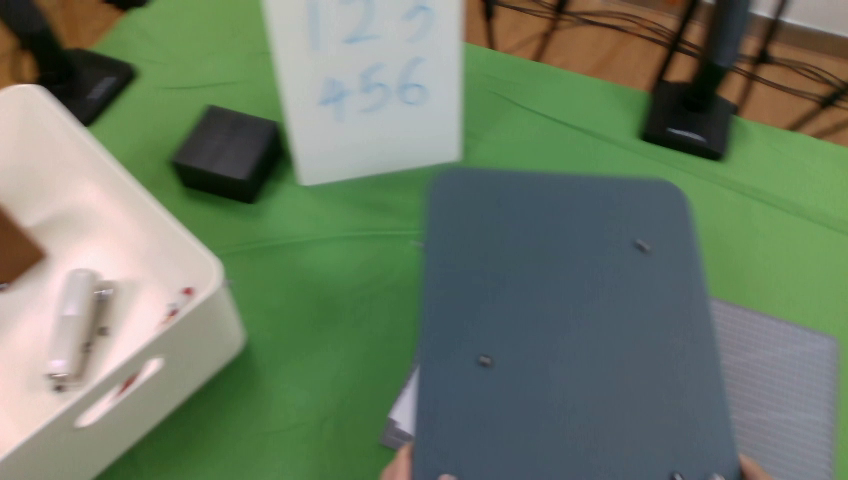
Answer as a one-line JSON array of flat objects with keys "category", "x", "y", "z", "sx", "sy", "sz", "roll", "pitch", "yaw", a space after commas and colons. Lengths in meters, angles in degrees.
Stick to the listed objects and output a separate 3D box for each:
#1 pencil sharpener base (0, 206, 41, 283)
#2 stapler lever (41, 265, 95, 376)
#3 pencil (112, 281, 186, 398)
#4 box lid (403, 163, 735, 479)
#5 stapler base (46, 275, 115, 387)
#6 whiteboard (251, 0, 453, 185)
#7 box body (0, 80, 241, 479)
[{"category": "pencil sharpener base", "x": -0.490, "y": -0.004, "z": 0.658, "sx": 0.061, "sy": 0.108, "sz": 0.076, "roll": 31, "pitch": 63, "yaw": 17}, {"category": "stapler lever", "x": -0.372, "y": 0.081, "z": 0.631, "sx": 0.027, "sy": 0.040, "sz": 0.117, "roll": 0, "pitch": 61, "yaw": 0}, {"category": "pencil", "x": -0.304, "y": 0.127, "z": 0.645, "sx": 0.012, "sy": 0.012, "sz": 0.193, "roll": 15, "pitch": 60, "yaw": 7}, {"category": "box lid", "x": 0.121, "y": 0.090, "z": 0.527, "sx": 0.263, "sy": 0.015, "sz": 0.368, "roll": 4, "pitch": 62, "yaw": -1}, {"category": "stapler base", "x": -0.373, "y": 0.093, "z": 0.654, "sx": 0.041, "sy": 0.024, "sz": 0.129, "roll": 0, "pitch": 60, "yaw": 0}, {"category": "whiteboard", "x": -0.089, "y": -0.251, "z": 0.756, "sx": 0.217, "sy": 0.308, "sz": 0.142, "roll": -11, "pitch": 40, "yaw": -8}, {"category": "box body", "x": -0.395, "y": 0.043, "z": 0.609, "sx": 0.361, "sy": 0.161, "sz": 0.254, "roll": 38, "pitch": 64, "yaw": 19}]
